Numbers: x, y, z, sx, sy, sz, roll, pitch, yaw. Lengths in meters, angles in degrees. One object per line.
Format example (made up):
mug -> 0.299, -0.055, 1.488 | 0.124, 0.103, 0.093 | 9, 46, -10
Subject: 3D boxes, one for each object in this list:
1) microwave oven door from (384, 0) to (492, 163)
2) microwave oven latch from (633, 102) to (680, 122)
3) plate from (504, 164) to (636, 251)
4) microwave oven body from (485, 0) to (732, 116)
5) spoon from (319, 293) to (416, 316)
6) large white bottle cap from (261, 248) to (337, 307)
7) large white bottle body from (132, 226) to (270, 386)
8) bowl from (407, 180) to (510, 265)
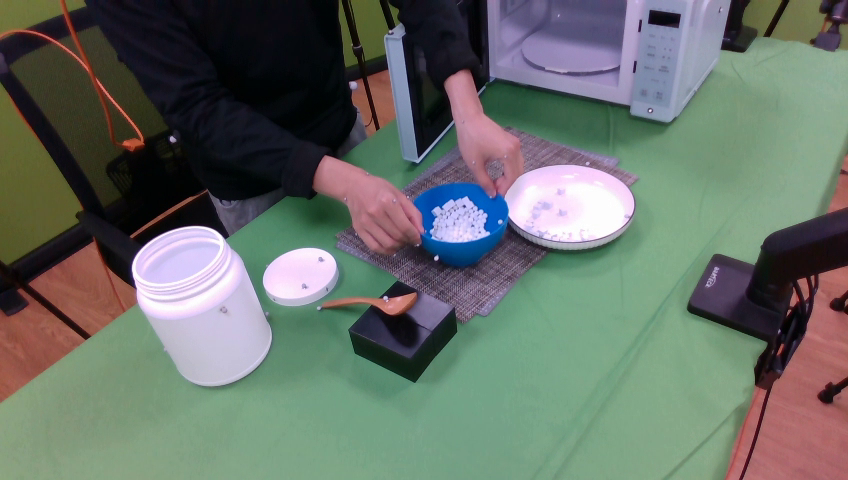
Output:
microwave oven door -> 0.042, -0.347, 1.173 | 0.039, 0.245, 0.356 | 15, 45, 24
microwave oven latch -> 0.444, -0.249, 1.157 | 0.078, 0.029, 0.030 | 21, 49, 30
plate -> 0.232, -0.050, 0.976 | 0.209, 0.038, 0.208 | -3, 41, 3
microwave oven body -> 0.377, -0.462, 1.267 | 0.438, 0.261, 0.327 | 21, 49, 30
spoon -> -0.082, 0.086, 0.826 | 0.192, 0.022, 0.041 | -3, 37, 41
large white bottle cap -> -0.193, 0.056, 0.933 | 0.115, 0.018, 0.114 | -5, 42, 5
large white bottle body -> -0.286, 0.085, 0.783 | 0.130, 0.185, 0.130 | -4, 41, 4
bowl -> 0.053, -0.016, 0.904 | 0.151, 0.077, 0.150 | -3, 39, 3
